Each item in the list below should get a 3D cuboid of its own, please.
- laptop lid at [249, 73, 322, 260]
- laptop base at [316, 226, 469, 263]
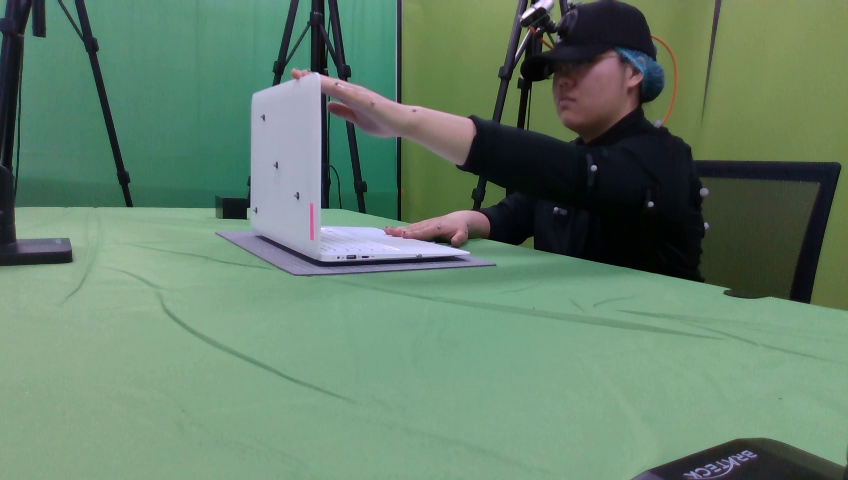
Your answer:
[{"bbox_3d":[-0.216,-0.111,0.895,0.013,0.241,0.355,-2,10,-29],"label":"laptop lid"},{"bbox_3d":[-0.117,0.005,0.971,0.237,0.023,0.352,3,6,-30],"label":"laptop base"}]
